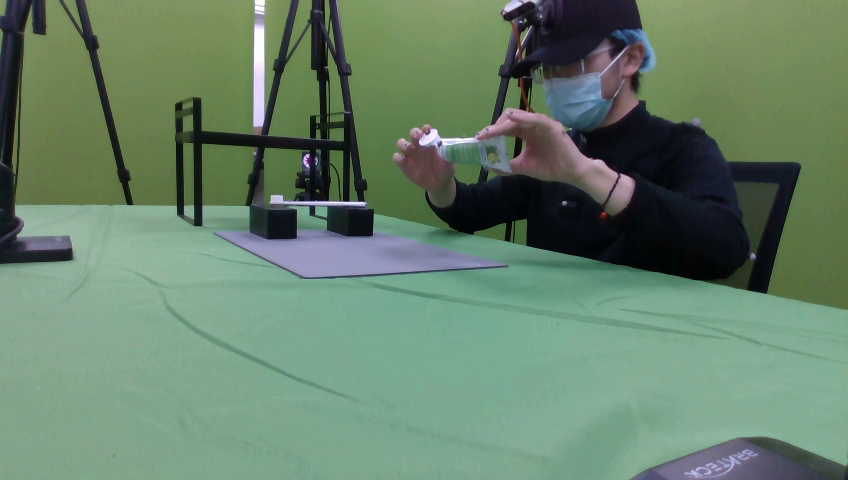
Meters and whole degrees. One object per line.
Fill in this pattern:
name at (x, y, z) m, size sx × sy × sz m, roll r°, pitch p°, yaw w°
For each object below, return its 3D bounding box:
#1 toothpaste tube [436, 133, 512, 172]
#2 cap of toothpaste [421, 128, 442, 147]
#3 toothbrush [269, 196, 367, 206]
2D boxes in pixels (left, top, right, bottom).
toothpaste tube at (0.070, -0.132, 0.879) m, size 0.034 × 0.055 × 0.164 m, roll -32°, pitch 26°, yaw -23°
cap of toothpaste at (0.012, -0.159, 0.943) m, size 0.037 × 0.037 × 0.011 m, roll 11°, pitch -28°, yaw 47°
toothbrush at (-0.187, -0.069, 1.088) m, size 0.183 × 0.016 × 0.014 m, roll 0°, pitch -3°, yaw -28°
